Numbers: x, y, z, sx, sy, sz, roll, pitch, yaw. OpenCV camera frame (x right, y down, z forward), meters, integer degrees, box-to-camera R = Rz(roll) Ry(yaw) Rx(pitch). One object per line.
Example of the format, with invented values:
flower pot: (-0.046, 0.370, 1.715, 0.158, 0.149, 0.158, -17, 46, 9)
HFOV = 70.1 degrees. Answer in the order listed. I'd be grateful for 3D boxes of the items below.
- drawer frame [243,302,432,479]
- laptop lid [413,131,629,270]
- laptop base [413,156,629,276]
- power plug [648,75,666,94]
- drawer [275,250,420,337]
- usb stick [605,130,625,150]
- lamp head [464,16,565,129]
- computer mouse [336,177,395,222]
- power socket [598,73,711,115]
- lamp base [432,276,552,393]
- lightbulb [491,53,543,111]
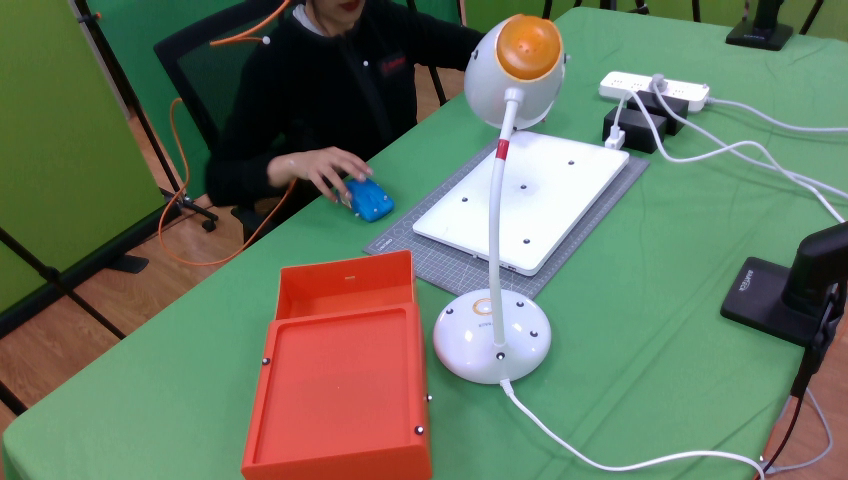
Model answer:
drawer frame: (-0.096, 0.185, 0.738, 0.202, 0.083, 0.212, -8, 40, 1)
laptop lid: (0.172, -0.087, 1.042, 0.239, 0.013, 0.358, 21, 48, 34)
laptop base: (0.176, -0.077, 1.048, 0.233, 0.023, 0.355, 19, 47, 34)
power plug: (0.457, -0.301, 1.212, 0.073, 0.053, 0.035, -36, 46, -28)
drawer: (-0.104, 0.117, 0.825, 0.194, 0.073, 0.210, -8, 40, 1)
usb stick: (0.348, -0.175, 1.110, 0.021, 0.027, 0.059, 19, 52, 29)
lamp head: (0.101, -0.184, 0.655, 0.112, 0.112, 0.123, -9, 0, 0)
computer mouse: (-0.107, -0.077, 1.090, 0.063, 0.041, 0.116, -30, 48, -26)
power socket: (0.470, -0.303, 1.249, 0.225, 0.033, 0.072, 20, 49, 30)
lamp base: (0.085, 0.075, 0.756, 0.161, 0.181, 0.178, -14, 44, -6)
lightbulb: (0.107, -0.182, 0.679, 0.059, 0.059, 0.108, -9, -3, 1)
